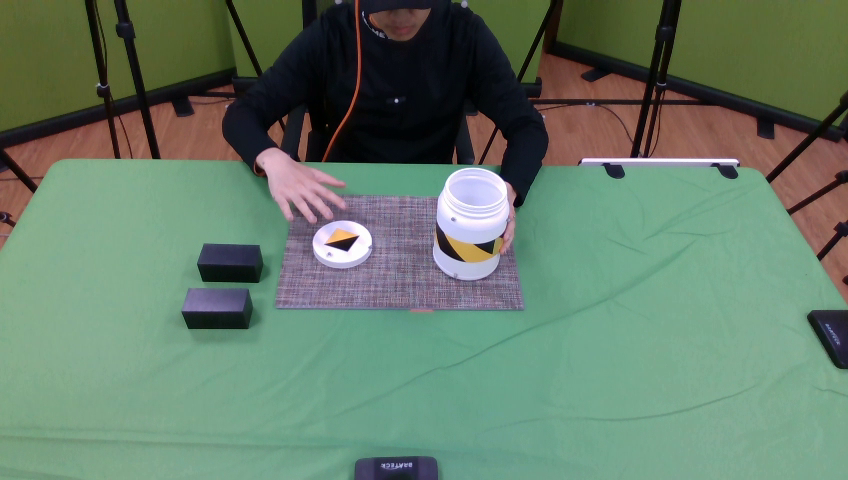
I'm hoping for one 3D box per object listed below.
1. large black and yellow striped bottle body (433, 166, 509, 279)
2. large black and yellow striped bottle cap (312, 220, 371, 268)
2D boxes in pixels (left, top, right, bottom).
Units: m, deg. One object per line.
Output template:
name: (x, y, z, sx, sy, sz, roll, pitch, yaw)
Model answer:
large black and yellow striped bottle body: (0.086, -0.032, 1.115, 0.131, 0.185, 0.130, 2, 46, -2)
large black and yellow striped bottle cap: (-0.159, 0.006, 1.177, 0.115, 0.019, 0.114, 2, 45, -2)
